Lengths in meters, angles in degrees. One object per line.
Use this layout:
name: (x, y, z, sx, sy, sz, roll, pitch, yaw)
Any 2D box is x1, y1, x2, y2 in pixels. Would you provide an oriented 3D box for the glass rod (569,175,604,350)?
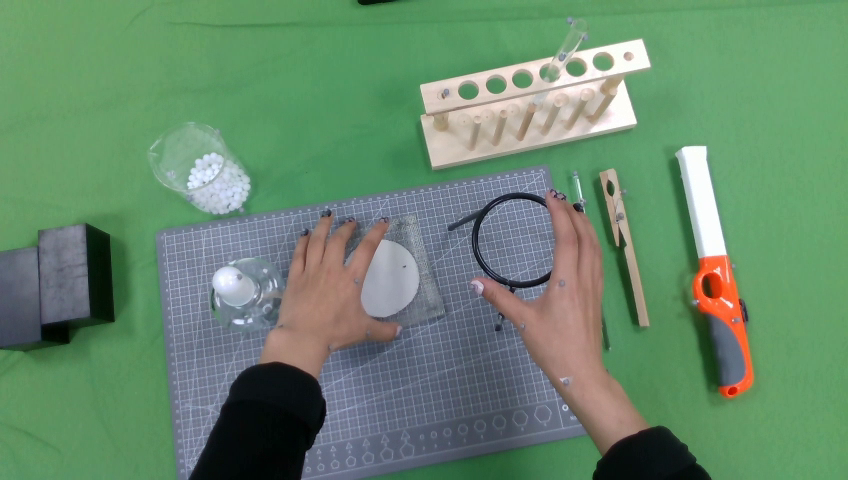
glass rod: (0.182, 0.023, 0.676, 0.008, 0.008, 0.199, -7, 80, -2)

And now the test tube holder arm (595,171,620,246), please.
test tube holder arm: (0.211, -0.035, 0.685, 0.010, 0.015, 0.087, -21, 74, 35)

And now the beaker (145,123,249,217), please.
beaker: (-0.237, -0.070, 0.646, 0.084, 0.100, 0.073, 8, 76, 2)

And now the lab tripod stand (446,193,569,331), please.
lab tripod stand: (0.082, 0.013, 0.610, 0.148, 0.132, 0.147, 0, 78, 1)

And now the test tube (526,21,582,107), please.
test tube: (0.132, -0.177, 0.630, 0.017, 0.150, 0.017, 2, 75, -6)

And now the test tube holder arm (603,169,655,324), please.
test tube holder arm: (0.225, 0.005, 0.671, 0.013, 0.015, 0.177, -23, 73, 34)

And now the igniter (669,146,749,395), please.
igniter: (0.312, 0.028, 0.666, 0.057, 0.025, 0.275, -4, 77, -11)

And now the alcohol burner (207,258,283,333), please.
alcohol burner: (-0.185, 0.053, 0.608, 0.078, 0.119, 0.077, 0, 75, 1)

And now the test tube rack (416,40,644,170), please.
test tube rack: (0.116, -0.147, 0.674, 0.242, 0.085, 0.066, -12, 77, -3)

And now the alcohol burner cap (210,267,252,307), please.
alcohol burner cap: (-0.185, 0.042, 0.574, 0.034, 0.048, 0.033, 1, 67, -1)

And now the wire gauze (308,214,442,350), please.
wire gauze: (-0.055, 0.044, 0.666, 0.121, 0.011, 0.124, -17, 80, -3)
